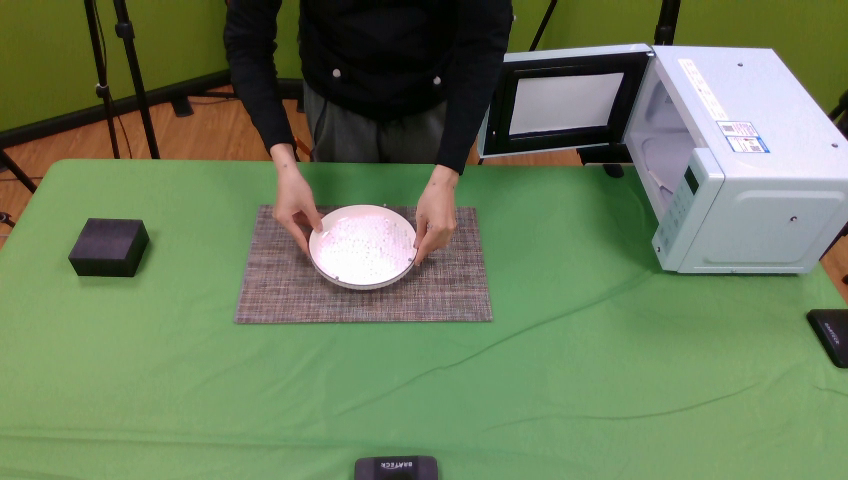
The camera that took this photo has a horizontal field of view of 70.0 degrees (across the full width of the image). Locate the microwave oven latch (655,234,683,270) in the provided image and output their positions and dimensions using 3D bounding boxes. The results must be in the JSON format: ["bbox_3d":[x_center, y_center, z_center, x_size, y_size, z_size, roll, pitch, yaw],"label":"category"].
[{"bbox_3d":[0.473,0.021,1.175,0.030,0.029,0.078,2,46,-1],"label":"microwave oven latch"}]

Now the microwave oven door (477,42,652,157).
[{"bbox_3d":[0.303,-0.308,1.335,0.356,0.245,0.039,-8,47,-11],"label":"microwave oven door"}]

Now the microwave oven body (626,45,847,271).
[{"bbox_3d":[0.619,-0.172,1.234,0.326,0.261,0.439,0,46,-3],"label":"microwave oven body"}]

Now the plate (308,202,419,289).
[{"bbox_3d":[-0.114,0.014,1.147,0.209,0.038,0.208,3,48,-3],"label":"plate"}]
